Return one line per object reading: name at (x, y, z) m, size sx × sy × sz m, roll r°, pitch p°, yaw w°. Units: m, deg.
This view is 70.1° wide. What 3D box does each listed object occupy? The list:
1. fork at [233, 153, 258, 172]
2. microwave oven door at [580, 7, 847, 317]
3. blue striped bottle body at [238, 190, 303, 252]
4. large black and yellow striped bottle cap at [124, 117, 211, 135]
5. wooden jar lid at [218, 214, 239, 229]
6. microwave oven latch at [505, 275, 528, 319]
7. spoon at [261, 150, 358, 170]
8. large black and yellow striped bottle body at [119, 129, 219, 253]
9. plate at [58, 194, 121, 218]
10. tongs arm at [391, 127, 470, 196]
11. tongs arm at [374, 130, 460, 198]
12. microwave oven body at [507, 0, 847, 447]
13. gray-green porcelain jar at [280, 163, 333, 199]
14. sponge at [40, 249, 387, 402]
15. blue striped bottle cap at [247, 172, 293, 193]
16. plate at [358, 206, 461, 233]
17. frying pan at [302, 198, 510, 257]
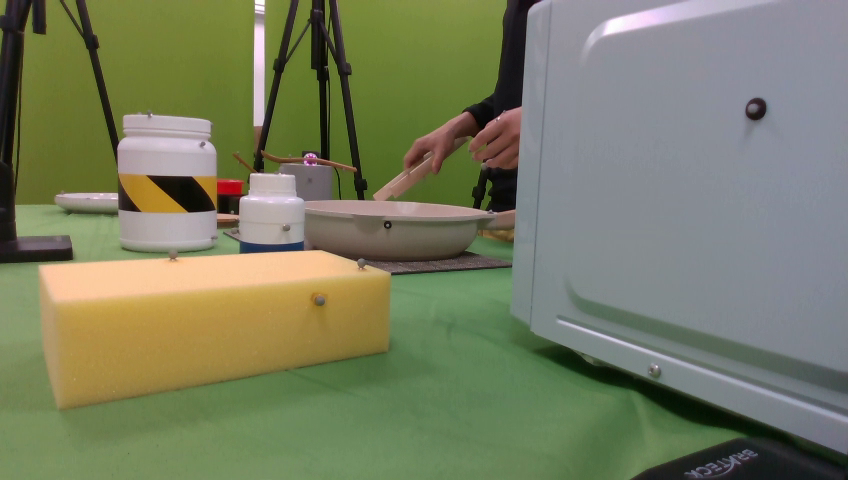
fork at (-0.396, -0.143, 1.486) m, size 0.028 × 0.018 × 0.208 m, roll 21°, pitch -26°, yaw 45°
microwave oven door at (0.295, -0.067, 0.570) m, size 0.358 × 0.243 × 0.039 m, roll -3°, pitch 9°, yaw -31°
blue striped bottle body at (-0.153, -0.007, 0.606) m, size 0.063 × 0.120 × 0.063 m, roll 2°, pitch 8°, yaw 0°
large black and yellow striped bottle cap at (-0.366, -0.163, 0.866) m, size 0.115 × 0.019 × 0.115 m, roll 3°, pitch 7°, yaw 0°
wooden jar lid at (-0.404, -0.037, 1.169) m, size 0.108 × 0.020 × 0.108 m, roll 3°, pitch 7°, yaw 0°
microwave oven latch at (0.100, 0.042, 0.471) m, size 0.079 × 0.029 × 0.030 m, roll -1°, pitch 7°, yaw -29°
spoon at (-0.229, -0.162, 1.222) m, size 0.194 × 0.021 × 0.041 m, roll 4°, pitch 4°, yaw -16°
large black and yellow striped bottle body at (-0.367, -0.080, 0.876) m, size 0.131 × 0.184 × 0.130 m, roll 1°, pitch 7°, yaw 0°
plate at (-0.671, -0.074, 1.310) m, size 0.209 × 0.038 × 0.209 m, roll 2°, pitch 8°, yaw 0°
tongs arm at (0.019, -0.185, 1.368) m, size 0.050 × 0.026 × 0.386 m, roll -20°, pitch 16°, yaw 40°
tongs arm at (-0.006, -0.176, 1.387) m, size 0.028 × 0.028 × 0.388 m, roll -25°, pitch 13°, yaw 40°
microwave oven body at (0.331, -0.042, 0.425) m, size 0.444 × 0.260 × 0.324 m, roll -2°, pitch 8°, yaw -31°
gray-green porcelain jar at (-0.238, -0.092, 1.221) m, size 0.106 × 0.126 × 0.106 m, roll 2°, pitch 7°, yaw 0°
sponge at (-0.142, 0.047, 0.419) m, size 0.208 × 0.061 × 0.117 m, roll -3°, pitch 8°, yaw -36°
blue striped bottle cap at (-0.152, -0.057, 0.598) m, size 0.044 × 0.020 × 0.044 m, roll 3°, pitch 6°, yaw 0°
plate at (-0.030, -0.041, 1.213) m, size 0.208 × 0.039 × 0.207 m, roll 3°, pitch 7°, yaw 0°
frying pan at (0.050, -0.035, 0.915) m, size 0.487 × 0.102 × 0.307 m, roll -5°, pitch 7°, yaw 10°
